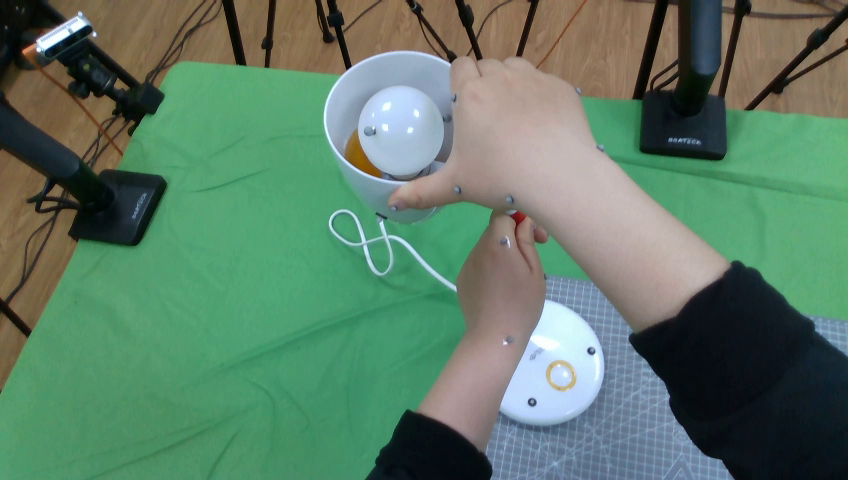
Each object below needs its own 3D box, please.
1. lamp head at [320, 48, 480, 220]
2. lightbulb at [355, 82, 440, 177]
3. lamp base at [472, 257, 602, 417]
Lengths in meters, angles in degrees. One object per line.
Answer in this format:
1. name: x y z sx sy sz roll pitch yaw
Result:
1. lamp head: -0.012 -0.066 0.469 0.112 0.124 0.111 -2 65 5
2. lightbulb: -0.016 -0.070 0.444 0.059 0.108 0.059 -2 68 4
3. lamp base: 0.122 0.097 0.693 0.178 0.182 0.160 33 69 24
